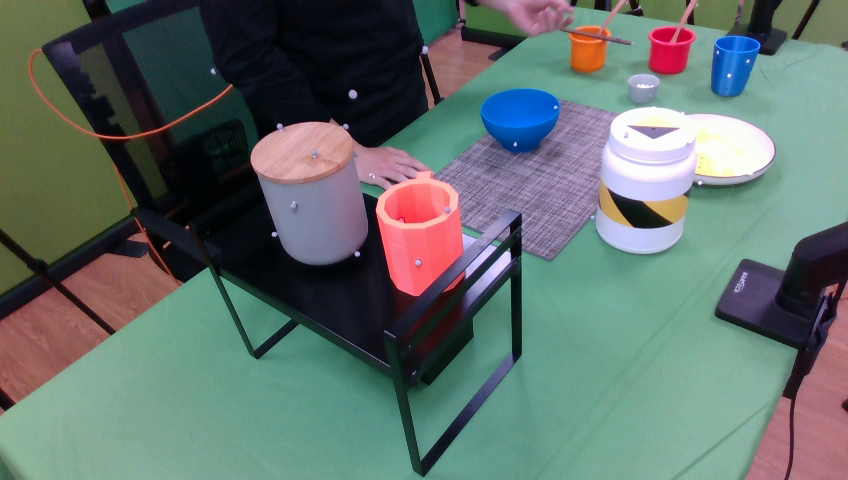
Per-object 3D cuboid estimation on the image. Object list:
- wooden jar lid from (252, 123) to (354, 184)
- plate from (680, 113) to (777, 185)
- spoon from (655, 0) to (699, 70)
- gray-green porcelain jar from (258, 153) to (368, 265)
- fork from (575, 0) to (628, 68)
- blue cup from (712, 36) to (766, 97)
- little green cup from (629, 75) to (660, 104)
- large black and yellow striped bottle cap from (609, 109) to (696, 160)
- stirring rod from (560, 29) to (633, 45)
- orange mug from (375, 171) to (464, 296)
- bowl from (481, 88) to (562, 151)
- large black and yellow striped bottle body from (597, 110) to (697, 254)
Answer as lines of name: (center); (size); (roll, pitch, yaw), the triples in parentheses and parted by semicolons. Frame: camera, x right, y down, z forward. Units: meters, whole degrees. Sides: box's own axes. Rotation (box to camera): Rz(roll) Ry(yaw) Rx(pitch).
wooden jar lid: (-0.129, -0.090, 0.652); (0.108, 0.021, 0.108); (-3, 41, 4)
plate: (0.506, -0.158, 1.073); (0.209, 0.038, 0.208); (-5, 40, 4)
spoon: (0.567, -0.463, 1.337); (0.041, 0.022, 0.193); (30, 96, 38)
gray-green porcelain jar: (-0.122, -0.043, 0.692); (0.106, 0.127, 0.105); (-4, 40, 4)
fork: (0.413, -0.481, 1.377); (0.207, 0.019, 0.028); (-57, 43, 12)
blue cup: (0.627, -0.350, 1.227); (0.092, 0.100, 0.092); (-4, 39, 4)
little green cup: (0.458, -0.314, 1.260); (0.061, 0.039, 0.061); (-4, 40, 4)
large black and yellow striped bottle cap: (0.320, -0.150, 0.849); (0.115, 0.019, 0.114); (-4, 40, 3)
stirring rod: (0.381, -0.452, 1.345); (0.174, 0.006, 0.014); (26, 50, 33)
orange mug: (-0.001, -0.016, 0.662); (0.083, 0.101, 0.125); (-2, 45, 8)
bowl: (0.187, -0.223, 1.161); (0.151, 0.077, 0.150); (-4, 40, 4)
large black and yellow striped bottle body: (0.331, -0.086, 0.904); (0.131, 0.185, 0.130); (-5, 41, 4)
